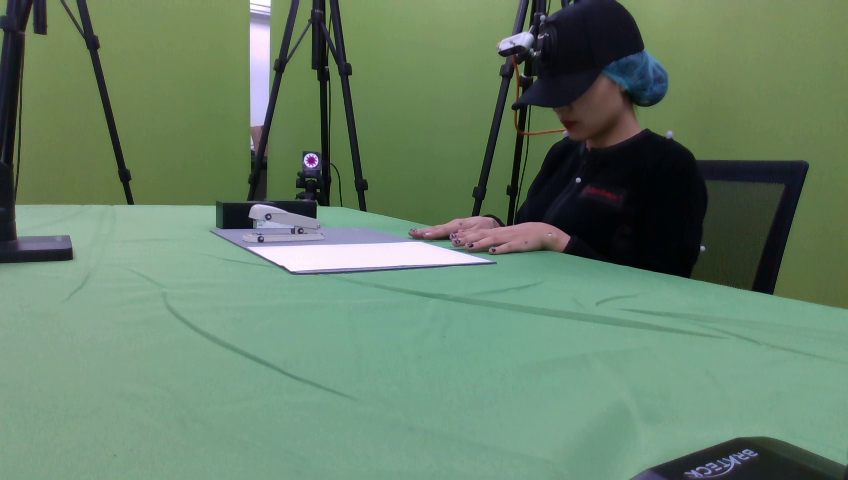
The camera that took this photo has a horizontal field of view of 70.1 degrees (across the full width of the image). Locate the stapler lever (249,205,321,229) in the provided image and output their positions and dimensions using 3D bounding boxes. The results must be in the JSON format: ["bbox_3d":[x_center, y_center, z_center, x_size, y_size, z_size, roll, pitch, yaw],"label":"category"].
[{"bbox_3d":[-0.228,-0.037,0.994,0.119,0.040,0.026,-1,10,-36],"label":"stapler lever"}]

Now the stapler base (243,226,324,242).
[{"bbox_3d":[-0.230,-0.012,0.996,0.131,0.024,0.041,-1,10,-36],"label":"stapler base"}]
